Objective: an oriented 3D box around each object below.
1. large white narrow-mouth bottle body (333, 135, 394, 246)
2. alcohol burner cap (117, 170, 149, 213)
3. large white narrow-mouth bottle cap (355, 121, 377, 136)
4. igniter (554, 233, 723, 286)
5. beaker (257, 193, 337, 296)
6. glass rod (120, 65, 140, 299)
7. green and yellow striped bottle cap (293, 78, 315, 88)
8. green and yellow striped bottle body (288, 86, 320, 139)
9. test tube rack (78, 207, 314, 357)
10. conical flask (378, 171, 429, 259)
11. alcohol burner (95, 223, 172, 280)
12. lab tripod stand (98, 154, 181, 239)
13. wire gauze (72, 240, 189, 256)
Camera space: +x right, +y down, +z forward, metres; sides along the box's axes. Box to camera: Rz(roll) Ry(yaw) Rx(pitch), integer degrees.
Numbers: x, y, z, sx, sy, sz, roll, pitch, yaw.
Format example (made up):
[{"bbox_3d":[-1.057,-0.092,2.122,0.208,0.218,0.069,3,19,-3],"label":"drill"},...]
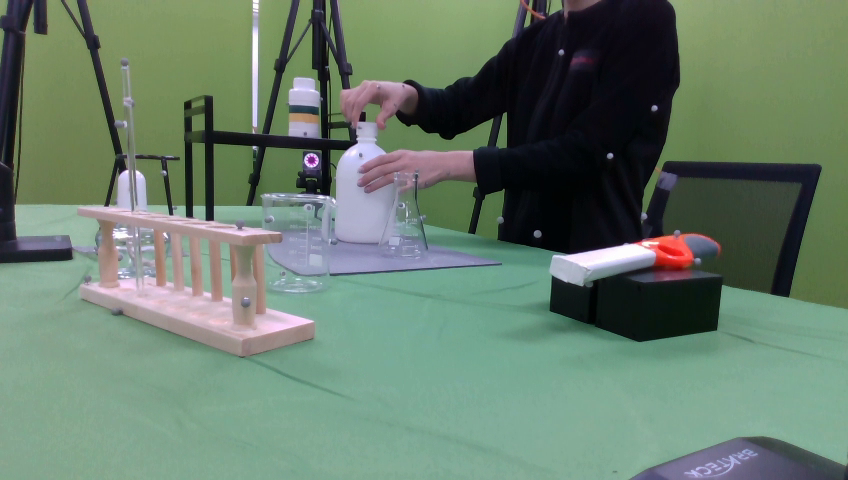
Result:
[{"bbox_3d":[-0.100,-0.093,1.018,0.102,0.194,0.101,3,9,0],"label":"large white narrow-mouth bottle body"},{"bbox_3d":[-0.320,-0.052,0.661,0.034,0.048,0.034,-3,0,0],"label":"alcohol burner cap"},{"bbox_3d":[-0.095,-0.184,1.001,0.038,0.024,0.037,3,9,0],"label":"large white narrow-mouth bottle cap"},{"bbox_3d":[0.214,0.015,0.570,0.278,0.025,0.057,-5,22,-44],"label":"igniter"},{"bbox_3d":[-0.130,0.003,0.628,0.084,0.100,0.074,5,8,15],"label":"beaker"},{"bbox_3d":[-0.249,-0.047,0.513,0.008,0.199,0.008,-1,4,0],"label":"glass rod"},{"bbox_3d":[-0.248,-0.323,1.256,0.045,0.020,0.045,4,8,0],"label":"green and yellow striped bottle cap"},{"bbox_3d":[-0.250,-0.272,1.261,0.063,0.119,0.063,3,7,0],"label":"green and yellow striped bottle body"},{"bbox_3d":[-0.197,0.023,0.500,0.241,0.085,0.067,8,9,37],"label":"test tube rack"},{"bbox_3d":[-0.027,-0.037,0.869,0.075,0.122,0.075,3,7,0],"label":"conical flask"},{"bbox_3d":[-0.320,-0.016,0.667,0.078,0.119,0.078,0,7,0],"label":"alcohol burner"},{"bbox_3d":[-0.427,-0.066,0.942,0.148,0.131,0.148,1,6,0],"label":"lab tripod stand"},{"bbox_3d":[-0.399,0.013,0.820,0.126,0.011,0.121,-3,8,-37],"label":"wire gauze"}]
